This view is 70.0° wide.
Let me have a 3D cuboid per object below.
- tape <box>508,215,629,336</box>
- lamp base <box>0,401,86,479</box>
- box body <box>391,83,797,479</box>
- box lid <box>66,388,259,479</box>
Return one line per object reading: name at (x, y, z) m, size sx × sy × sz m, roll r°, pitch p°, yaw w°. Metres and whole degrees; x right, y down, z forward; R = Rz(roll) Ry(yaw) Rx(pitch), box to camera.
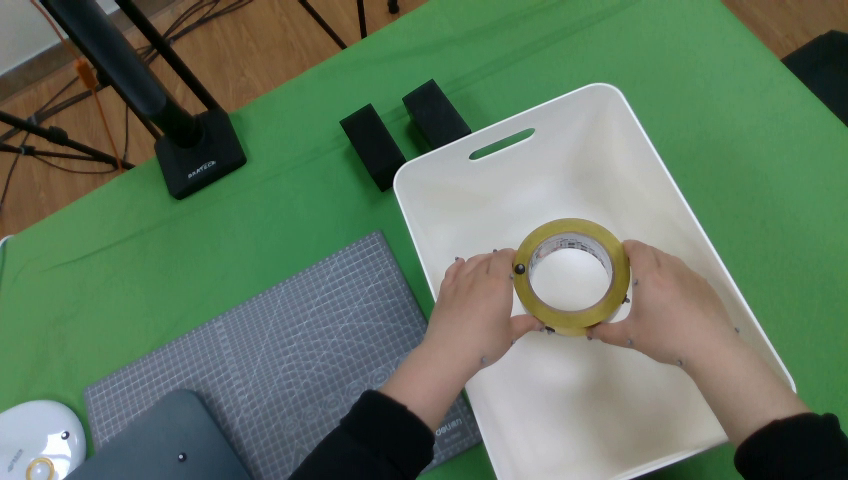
tape at (0.143, 0.035, 0.601) m, size 0.116 × 0.053 × 0.116 m, roll -4°, pitch 72°, yaw 11°
lamp base at (-0.534, 0.257, 0.708) m, size 0.178 × 0.182 × 0.160 m, roll 8°, pitch 70°, yaw 19°
box body at (0.149, 0.057, 0.633) m, size 0.254 × 0.162 × 0.360 m, roll -23°, pitch 65°, yaw 4°
box lid at (-0.279, 0.379, 0.684) m, size 0.263 × 0.015 × 0.368 m, roll -41°, pitch 68°, yaw -6°
